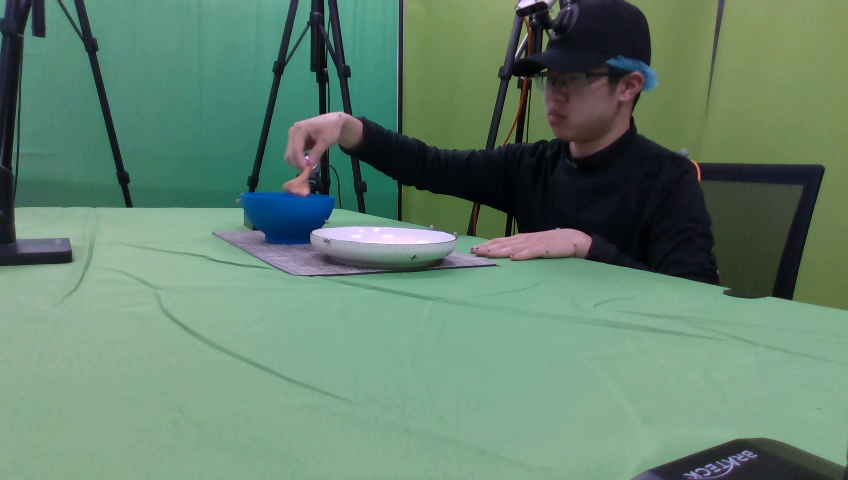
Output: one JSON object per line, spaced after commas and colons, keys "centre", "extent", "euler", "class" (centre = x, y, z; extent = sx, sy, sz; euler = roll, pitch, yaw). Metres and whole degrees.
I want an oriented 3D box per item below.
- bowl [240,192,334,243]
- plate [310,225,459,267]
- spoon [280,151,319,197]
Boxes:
{"centre": [-0.223, -0.037, 0.992], "extent": [0.151, 0.077, 0.151], "euler": [2, 7, 0], "class": "bowl"}
{"centre": [-0.055, 0.008, 0.851], "extent": [0.208, 0.039, 0.207], "euler": [2, 7, 0], "class": "plate"}
{"centre": [-0.205, -0.118, 1.043], "extent": [0.042, 0.021, 0.193], "euler": [19, 32, -5], "class": "spoon"}
